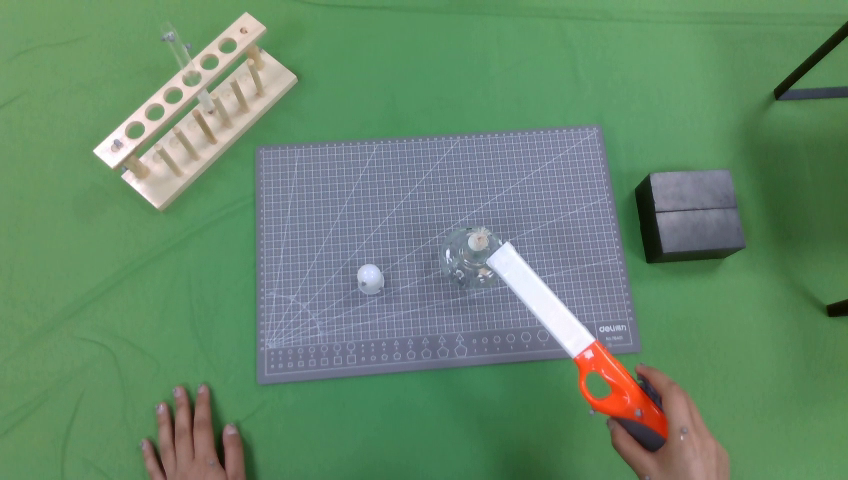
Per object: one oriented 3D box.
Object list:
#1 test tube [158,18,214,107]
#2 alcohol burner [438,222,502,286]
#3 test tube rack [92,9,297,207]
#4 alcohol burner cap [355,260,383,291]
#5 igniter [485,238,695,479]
[{"bbox_3d":[-0.270,-0.199,0.698,0.017,0.151,0.017,1,69,-1],"label":"test tube"},{"bbox_3d":[0.055,0.011,0.687,0.078,0.119,0.077,1,72,-3],"label":"alcohol burner"},{"bbox_3d":[-0.269,-0.160,0.738,0.066,0.085,0.242,40,76,9],"label":"test tube rack"},{"bbox_3d":[-0.065,0.040,0.711,0.034,0.048,0.033,0,74,0],"label":"alcohol burner cap"},{"bbox_3d":[0.157,0.111,0.580,0.057,0.025,0.275,-43,76,13],"label":"igniter"}]
